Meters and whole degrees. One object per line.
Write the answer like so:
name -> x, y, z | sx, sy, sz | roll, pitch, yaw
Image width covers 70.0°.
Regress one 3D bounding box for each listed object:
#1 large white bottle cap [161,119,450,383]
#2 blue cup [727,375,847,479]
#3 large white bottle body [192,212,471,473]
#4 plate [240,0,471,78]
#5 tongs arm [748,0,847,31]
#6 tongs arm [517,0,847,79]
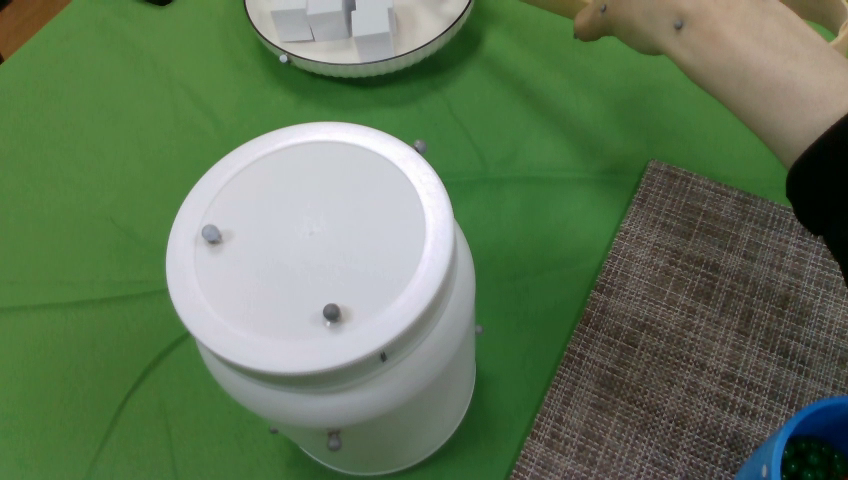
large white bottle cap -> -0.046, 0.000, 0.244 | 0.115, 0.018, 0.114 | -2, 61, 3
blue cup -> 0.193, 0.130, 0.296 | 0.092, 0.101, 0.092 | -3, 60, 5
large white bottle body -> -0.040, 0.042, 0.318 | 0.130, 0.186, 0.129 | -2, 61, 3
plate -> -0.058, -0.221, 0.546 | 0.207, 0.039, 0.206 | -2, 61, 3
tongs arm -> 0.110, -0.206, 0.441 | 0.383, 0.028, 0.028 | 33, 74, 36
tongs arm -> 0.096, -0.189, 0.437 | 0.051, 0.027, 0.380 | -46, 53, -7
